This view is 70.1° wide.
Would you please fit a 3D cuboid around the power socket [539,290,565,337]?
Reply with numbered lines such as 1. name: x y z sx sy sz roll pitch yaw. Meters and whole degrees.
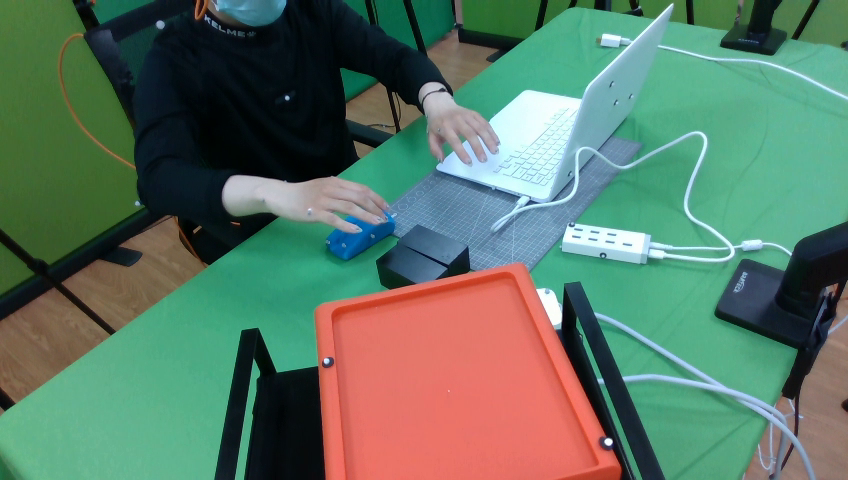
1. power socket: 0.081 0.112 0.822 0.227 0.033 0.072 -6 41 0

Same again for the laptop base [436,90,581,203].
1. laptop base: 0.214 -0.193 1.172 0.233 0.023 0.355 19 46 32

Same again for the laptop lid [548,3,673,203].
1. laptop lid: 0.320 -0.235 1.026 0.013 0.242 0.357 31 50 20

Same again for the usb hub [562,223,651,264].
1. usb hub: 0.279 0.005 0.926 0.124 0.025 0.049 10 43 19

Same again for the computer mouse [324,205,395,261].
1. computer mouse: -0.107 -0.016 0.994 0.117 0.041 0.062 -36 50 -21

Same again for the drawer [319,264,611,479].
1. drawer: 0.020 0.129 0.497 0.195 0.073 0.210 -11 41 -5

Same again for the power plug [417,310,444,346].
1. power plug: 0.007 0.122 0.786 0.035 0.053 0.072 1 39 7

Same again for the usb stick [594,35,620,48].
1. usb stick: 0.443 -0.482 1.466 0.059 0.021 0.027 10 43 10

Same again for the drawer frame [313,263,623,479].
1. drawer frame: 0.021 0.130 0.493 0.202 0.083 0.212 -11 41 -6
